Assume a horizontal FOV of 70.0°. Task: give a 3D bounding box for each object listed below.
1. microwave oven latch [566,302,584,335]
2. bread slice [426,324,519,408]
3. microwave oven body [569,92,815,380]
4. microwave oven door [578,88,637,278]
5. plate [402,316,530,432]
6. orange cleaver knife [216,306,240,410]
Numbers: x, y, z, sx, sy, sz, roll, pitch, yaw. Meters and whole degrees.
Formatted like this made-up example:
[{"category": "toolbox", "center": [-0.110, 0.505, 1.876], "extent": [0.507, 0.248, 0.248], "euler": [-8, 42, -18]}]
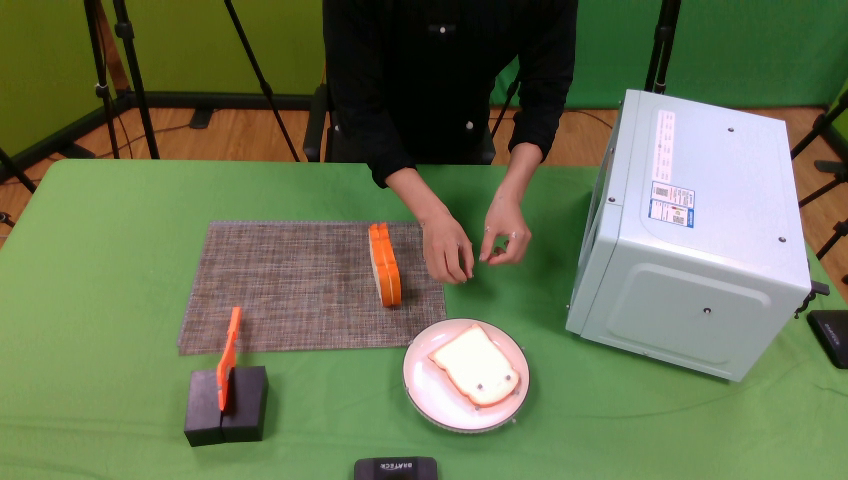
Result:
[{"category": "microwave oven latch", "center": [0.268, 0.126, 1.059], "extent": [0.030, 0.029, 0.079], "euler": [16, 46, 12]}, {"category": "bread slice", "center": [0.087, 0.209, 0.989], "extent": [0.107, 0.018, 0.133], "euler": [-32, 57, -26]}, {"category": "microwave oven body", "center": [0.468, -0.022, 1.082], "extent": [0.325, 0.261, 0.440], "euler": [15, 46, 11]}, {"category": "microwave oven door", "center": [0.346, -0.091, 1.132], "extent": [0.039, 0.245, 0.354], "euler": [14, 47, 11]}, {"category": "plate", "center": [0.066, 0.217, 0.982], "extent": [0.208, 0.039, 0.206], "euler": [2, 46, -2]}, {"category": "orange cleaver knife", "center": [-0.307, 0.180, 0.957], "extent": [0.012, 0.077, 0.210], "euler": [-2, 25, -8]}]
